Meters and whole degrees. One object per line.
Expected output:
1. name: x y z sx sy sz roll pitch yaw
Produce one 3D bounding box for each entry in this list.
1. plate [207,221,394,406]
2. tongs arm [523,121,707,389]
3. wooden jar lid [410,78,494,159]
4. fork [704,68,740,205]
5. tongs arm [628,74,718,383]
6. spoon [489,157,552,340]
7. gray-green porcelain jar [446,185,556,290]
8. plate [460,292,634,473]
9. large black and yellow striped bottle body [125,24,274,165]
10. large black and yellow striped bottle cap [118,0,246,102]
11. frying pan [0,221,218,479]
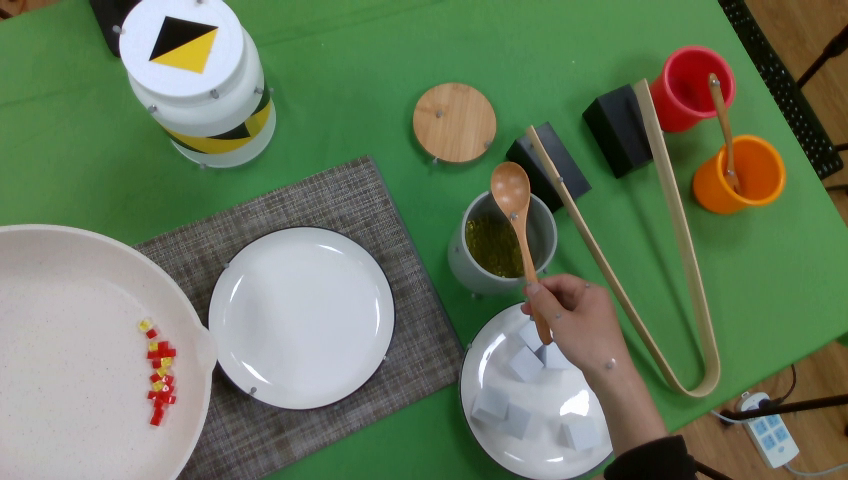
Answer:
1. plate: -0.139 0.083 0.697 0.209 0.038 0.208 1 79 -6
2. tongs arm: 0.231 0.019 0.732 0.051 0.026 0.385 -30 94 -14
3. wooden jar lid: 0.036 -0.154 0.778 0.108 0.021 0.108 1 80 -7
4. fork: 0.368 -0.123 0.747 0.028 0.018 0.209 -36 129 -5
5. tongs arm: 0.307 -0.014 0.749 0.028 0.027 0.387 -15 91 -18
6. spoon: 0.103 0.008 0.624 0.041 0.022 0.193 -12 78 2
7. gray-green porcelain jar: 0.082 0.001 0.699 0.106 0.127 0.105 1 78 -6
8. plate: 0.143 0.166 0.720 0.208 0.039 0.206 1 79 -6
9. large black and yellow striped bottle body: -0.241 -0.171 0.663 0.131 0.184 0.130 1 78 -6
10. large black and yellow striped bottle cap: -0.231 -0.190 0.582 0.115 0.019 0.114 1 80 -7
11. frying pan: -0.318 0.226 0.524 0.308 0.103 0.485 -9 73 -32
